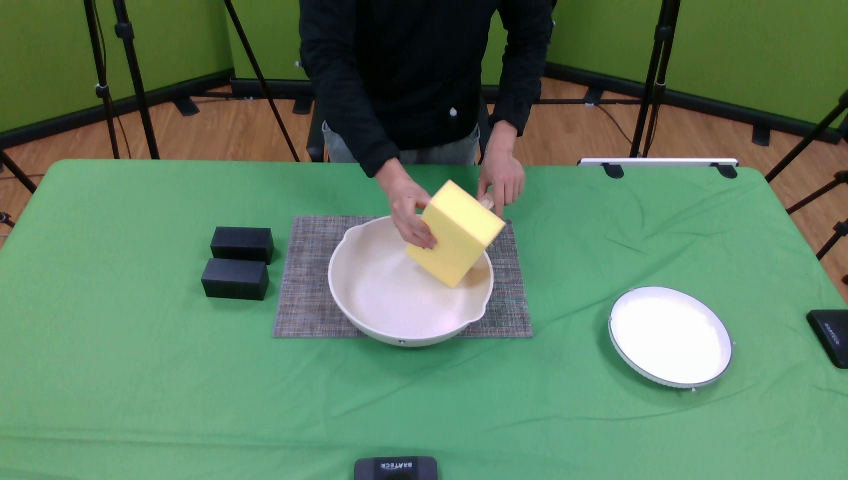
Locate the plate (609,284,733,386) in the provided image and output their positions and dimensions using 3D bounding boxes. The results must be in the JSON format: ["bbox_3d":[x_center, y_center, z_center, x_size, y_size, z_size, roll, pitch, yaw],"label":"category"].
[{"bbox_3d":[0.425,0.167,1.059,0.208,0.039,0.206,2,46,-2],"label":"plate"}]

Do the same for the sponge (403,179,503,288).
[{"bbox_3d":[0.044,-0.004,1.056,0.118,0.207,0.061,38,63,5],"label":"sponge"}]

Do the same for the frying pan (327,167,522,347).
[{"bbox_3d":[0.041,0.009,1.132,0.305,0.103,0.487,33,61,24],"label":"frying pan"}]
